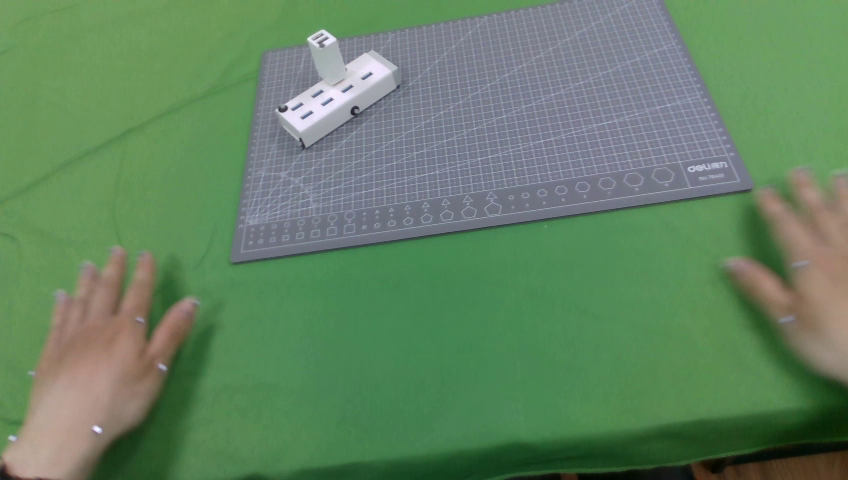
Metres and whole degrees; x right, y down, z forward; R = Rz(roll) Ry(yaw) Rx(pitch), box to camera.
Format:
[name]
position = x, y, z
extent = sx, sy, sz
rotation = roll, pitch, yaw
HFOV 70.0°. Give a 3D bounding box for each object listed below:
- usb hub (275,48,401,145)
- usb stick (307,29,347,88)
[usb hub]
position = -0.087, -0.149, 0.623
extent = 0.125, 0.025, 0.049
rotation = -37, 57, -16
[usb stick]
position = -0.095, -0.179, 0.609
extent = 0.021, 0.060, 0.027
rotation = -40, 56, -17
